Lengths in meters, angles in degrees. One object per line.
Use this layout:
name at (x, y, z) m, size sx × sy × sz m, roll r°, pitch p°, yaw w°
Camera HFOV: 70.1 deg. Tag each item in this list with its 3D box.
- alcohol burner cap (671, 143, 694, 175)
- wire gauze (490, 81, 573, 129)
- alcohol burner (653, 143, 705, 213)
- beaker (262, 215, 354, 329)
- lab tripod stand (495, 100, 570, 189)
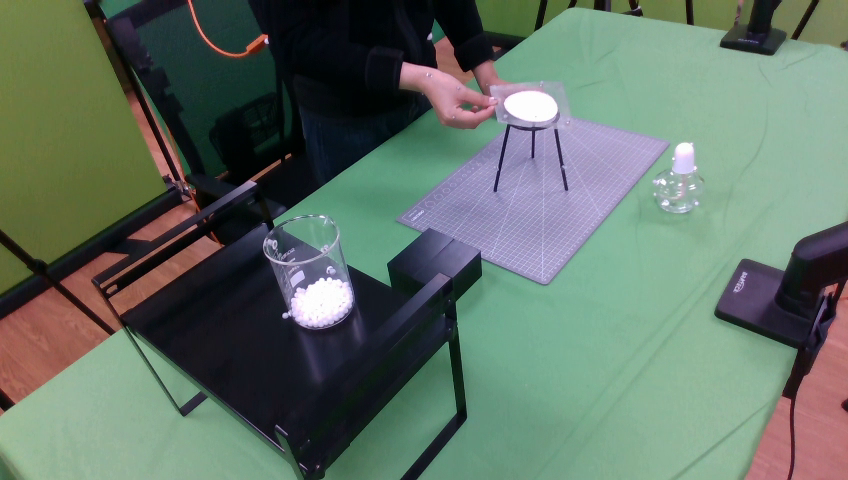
alcohol burner cap at (0.403, -0.129, 0.941) m, size 0.034 × 0.048 × 0.033 m, roll -9°, pitch 40°, yaw 8°
wire gauze at (0.174, -0.223, 0.986) m, size 0.125 × 0.011 × 0.121 m, roll 1°, pitch 47°, yaw -2°
alcohol burner at (0.408, -0.102, 0.963) m, size 0.078 × 0.119 × 0.077 m, roll -5°, pitch 42°, yaw 5°
beaker at (-0.112, 0.034, 0.616) m, size 0.073 × 0.101 × 0.084 m, roll 13°, pitch 44°, yaw 23°
lab tripod stand at (0.186, -0.161, 1.043) m, size 0.148 × 0.132 × 0.147 m, roll -4°, pitch 43°, yaw 5°
